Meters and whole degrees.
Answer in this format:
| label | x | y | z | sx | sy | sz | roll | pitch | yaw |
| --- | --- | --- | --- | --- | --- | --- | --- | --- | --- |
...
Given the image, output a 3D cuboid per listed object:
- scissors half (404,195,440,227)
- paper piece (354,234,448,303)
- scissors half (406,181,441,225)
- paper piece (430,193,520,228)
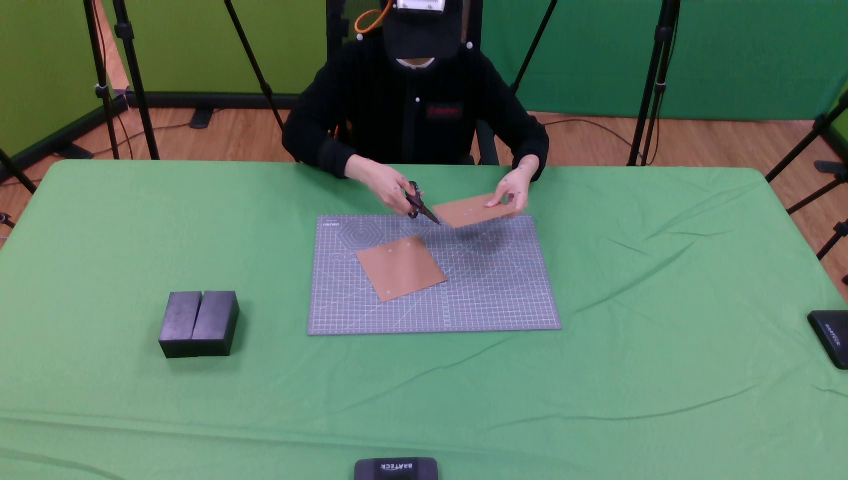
| label | x | y | z | sx | sy | sz | roll | pitch | yaw |
| --- | --- | --- | --- | --- | --- | --- | --- | --- | --- |
| scissors half | -0.003 | -0.051 | 1.144 | 0.013 | 0.040 | 0.174 | -5 | 18 | -21 |
| paper piece | -0.045 | 0.049 | 1.153 | 0.138 | 0.009 | 0.135 | -18 | 46 | -18 |
| scissors half | -0.001 | -0.068 | 1.136 | 0.013 | 0.040 | 0.174 | 0 | 30 | -24 |
| paper piece | 0.094 | -0.057 | 1.150 | 0.136 | 0.004 | 0.134 | -15 | 21 | -12 |
